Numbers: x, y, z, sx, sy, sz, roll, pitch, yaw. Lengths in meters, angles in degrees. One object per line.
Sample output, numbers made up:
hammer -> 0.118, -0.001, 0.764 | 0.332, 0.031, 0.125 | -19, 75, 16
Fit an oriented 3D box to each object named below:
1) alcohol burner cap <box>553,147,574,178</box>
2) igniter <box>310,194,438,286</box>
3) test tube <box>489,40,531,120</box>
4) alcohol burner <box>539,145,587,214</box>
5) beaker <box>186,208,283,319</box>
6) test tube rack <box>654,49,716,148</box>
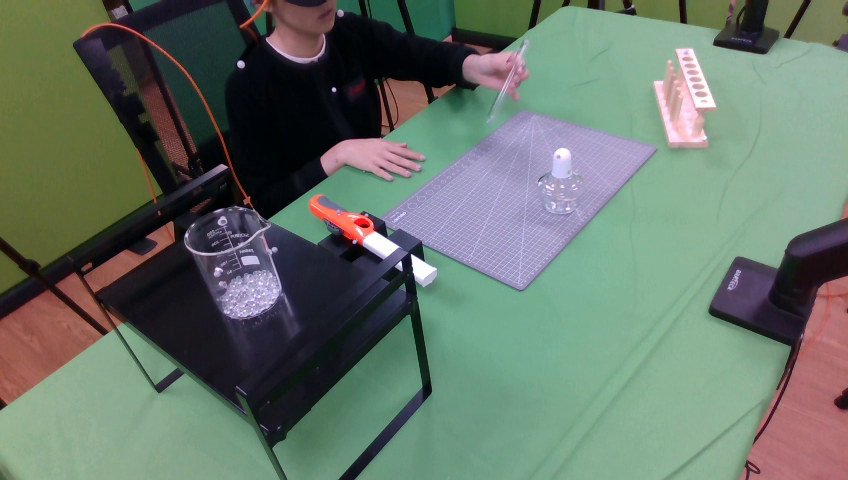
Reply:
alcohol burner cap -> 0.224, -0.125, 0.965 | 0.034, 0.048, 0.033 | -5, 44, 5
igniter -> -0.087, -0.007, 0.921 | 0.274, 0.025, 0.057 | 31, 50, 34
test tube -> 0.154, -0.286, 1.090 | 0.017, 0.150, 0.017 | 22, 21, -9
alcohol burner -> 0.226, -0.102, 0.986 | 0.078, 0.119, 0.077 | -6, 41, 6
beaker -> -0.192, 0.026, 0.637 | 0.084, 0.101, 0.073 | -13, 41, -7
test tube rack -> 0.502, -0.281, 1.176 | 0.066, 0.085, 0.241 | 1, 41, 11
